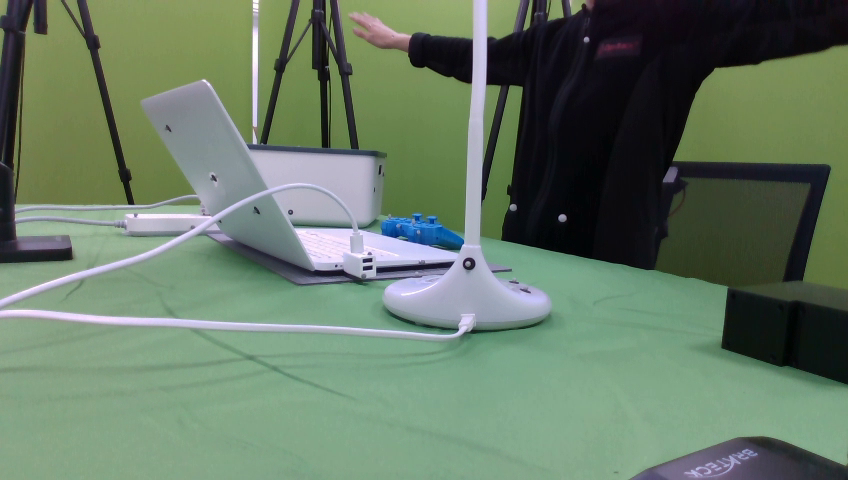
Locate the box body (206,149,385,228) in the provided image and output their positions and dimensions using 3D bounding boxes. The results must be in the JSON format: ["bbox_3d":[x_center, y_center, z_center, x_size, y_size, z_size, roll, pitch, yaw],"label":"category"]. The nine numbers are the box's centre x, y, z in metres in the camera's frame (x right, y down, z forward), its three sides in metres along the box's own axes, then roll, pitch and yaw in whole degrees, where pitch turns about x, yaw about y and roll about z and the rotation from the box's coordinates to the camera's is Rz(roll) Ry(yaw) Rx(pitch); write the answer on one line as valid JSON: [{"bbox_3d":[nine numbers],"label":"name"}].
[{"bbox_3d":[-0.276,-0.124,1.334,0.364,0.160,0.254,3,7,1],"label":"box body"}]

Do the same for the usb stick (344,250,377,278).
[{"bbox_3d":[-0.076,0.026,0.687,0.021,0.027,0.059,-9,8,-31],"label":"usb stick"}]

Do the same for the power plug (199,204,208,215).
[{"bbox_3d":[-0.387,-0.055,1.089,0.035,0.052,0.072,-1,6,-22],"label":"power plug"}]

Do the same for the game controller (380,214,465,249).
[{"bbox_3d":[-0.007,-0.016,1.032,0.097,0.051,0.154,-4,9,-32],"label":"game controller"}]

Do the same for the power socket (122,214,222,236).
[{"bbox_3d":[-0.398,-0.028,1.049,0.228,0.032,0.072,-3,8,-34],"label":"power socket"}]

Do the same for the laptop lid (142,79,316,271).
[{"bbox_3d":[-0.265,-0.082,0.775,0.013,0.242,0.355,-37,28,-25],"label":"laptop lid"}]

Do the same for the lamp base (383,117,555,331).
[{"bbox_3d":[0.045,-0.019,0.547,0.161,0.180,0.179,2,10,-4],"label":"lamp base"}]

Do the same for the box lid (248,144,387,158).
[{"bbox_3d":[-0.275,-0.197,1.326,0.372,0.015,0.263,4,8,1],"label":"box lid"}]

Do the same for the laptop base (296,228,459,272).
[{"bbox_3d":[-0.123,0.011,0.889,0.237,0.023,0.352,2,6,-35],"label":"laptop base"}]
